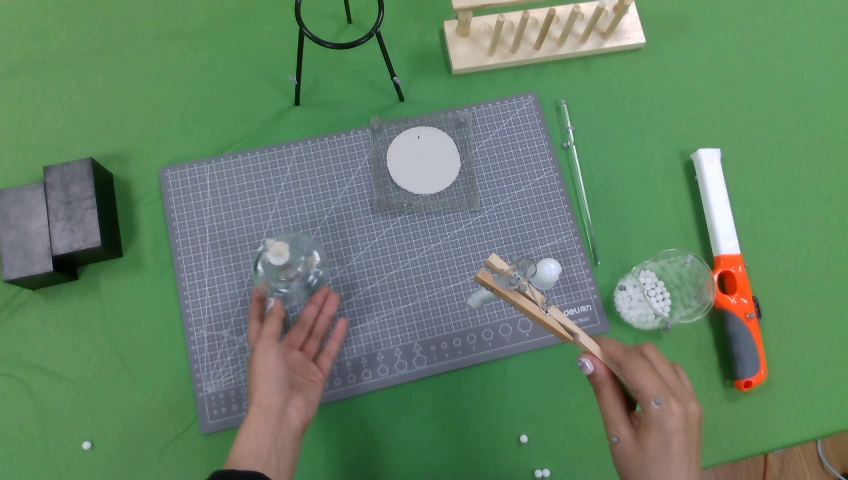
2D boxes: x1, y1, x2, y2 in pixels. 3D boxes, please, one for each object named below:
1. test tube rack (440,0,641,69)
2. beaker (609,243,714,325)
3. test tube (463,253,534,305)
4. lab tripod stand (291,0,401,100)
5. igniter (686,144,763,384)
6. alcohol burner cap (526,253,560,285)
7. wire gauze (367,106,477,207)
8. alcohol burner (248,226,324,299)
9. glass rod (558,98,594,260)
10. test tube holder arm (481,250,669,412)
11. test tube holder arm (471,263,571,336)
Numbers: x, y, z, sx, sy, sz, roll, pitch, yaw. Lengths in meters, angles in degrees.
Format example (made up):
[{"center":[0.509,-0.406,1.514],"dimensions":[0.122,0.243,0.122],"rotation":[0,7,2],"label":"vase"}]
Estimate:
[{"center":[0.146,-0.269,0.715],"dimensions":[0.242,0.085,0.066],"rotation":[-9,77,-5],"label":"test tube rack"},{"center":[0.242,0.049,0.639],"dimensions":[0.084,0.100,0.073],"rotation":[18,76,3],"label":"beaker"},{"center":[0.055,0.035,0.484],"dimensions":[0.017,0.150,0.017],"rotation":[3,75,-10],"label":"test tube"},{"center":[-0.093,-0.219,0.667],"dimensions":[0.148,0.132,0.147],"rotation":[1,79,-3],"label":"lab tripod stand"},{"center":[0.340,0.022,0.687],"dimensions":[0.057,0.025,0.275],"rotation":[-2,77,-14],"label":"igniter"},{"center":[0.133,0.029,0.664],"dimensions":[0.034,0.048,0.033],"rotation":[1,76,-2],"label":"alcohol burner cap"},{"center":[-0.003,-0.096,0.705],"dimensions":[0.125,0.011,0.121],"rotation":[-2,78,-4],"label":"wire gauze"},{"center":[-0.144,0.019,0.616],"dimensions":[0.078,0.119,0.077],"rotation":[0,76,0],"label":"alcohol burner"},{"center":[0.178,-0.073,0.710],"dimensions":[0.008,0.008,0.199],"rotation":[-7,80,-5],"label":"glass rod"},{"center":[0.114,0.069,0.462],"dimensions":[0.178,0.015,0.013],"rotation":[39,77,3],"label":"test tube holder arm"},{"center":[0.075,0.046,0.462],"dimensions":[0.088,0.015,0.010],"rotation":[33,76,1],"label":"test tube holder arm"}]
